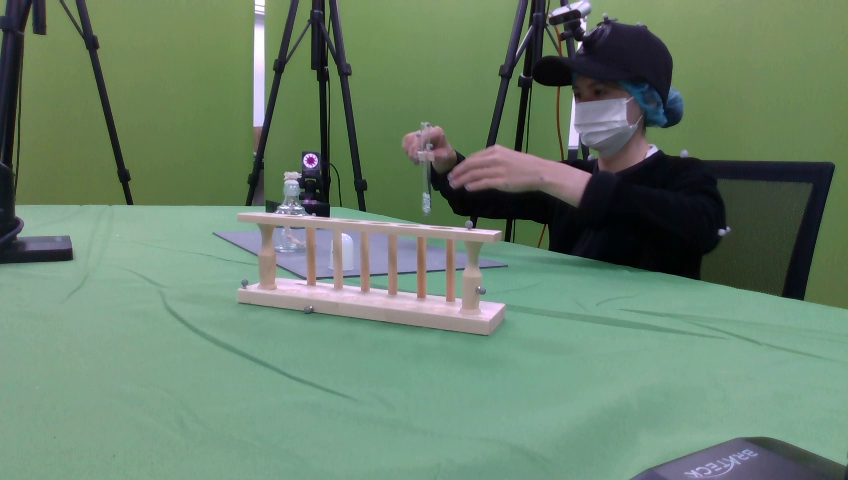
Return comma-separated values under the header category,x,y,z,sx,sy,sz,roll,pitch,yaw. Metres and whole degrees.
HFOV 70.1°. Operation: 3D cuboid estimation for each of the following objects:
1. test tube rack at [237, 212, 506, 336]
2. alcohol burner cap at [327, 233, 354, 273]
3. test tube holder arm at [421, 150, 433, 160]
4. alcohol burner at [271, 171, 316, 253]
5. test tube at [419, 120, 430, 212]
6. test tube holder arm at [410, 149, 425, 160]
category,x,y,z,sx,sy,sz,roll,pitch,yaw
test tube rack,-0.049,0.024,0.552,0.242,0.085,0.067,5,8,18
alcohol burner cap,-0.104,0.015,0.751,0.034,0.048,0.034,3,6,0
test tube holder arm,0.001,-0.143,1.019,0.010,0.015,0.087,1,10,-14
alcohol burner,-0.196,-0.041,0.884,0.078,0.119,0.078,3,5,0
test tube,0.001,-0.121,0.997,0.017,0.150,0.017,-1,6,0
test tube holder arm,-0.012,-0.151,1.061,0.013,0.015,0.178,2,10,-8
